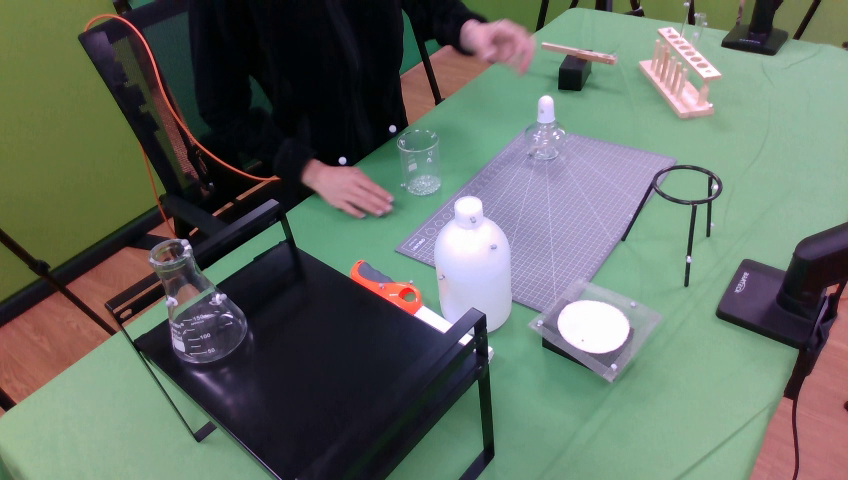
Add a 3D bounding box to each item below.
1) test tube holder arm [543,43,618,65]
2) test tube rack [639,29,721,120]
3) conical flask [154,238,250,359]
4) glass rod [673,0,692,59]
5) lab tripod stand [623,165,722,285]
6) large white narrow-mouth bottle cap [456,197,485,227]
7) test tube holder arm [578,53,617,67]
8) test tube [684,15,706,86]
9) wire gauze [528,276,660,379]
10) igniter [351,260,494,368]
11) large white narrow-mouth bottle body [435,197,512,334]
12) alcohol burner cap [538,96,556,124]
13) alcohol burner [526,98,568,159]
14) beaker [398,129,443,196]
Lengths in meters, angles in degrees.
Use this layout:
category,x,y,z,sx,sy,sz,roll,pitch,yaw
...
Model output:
category,x,y,z,sx,sy,sz,roll,pitch,yaw
test tube holder arm,0.344,-0.413,1.340,0.177,0.015,0.013,25,51,31
test tube rack,0.527,-0.351,1.262,0.067,0.085,0.241,-8,40,1
conical flask,-0.225,0.055,0.597,0.075,0.122,0.075,-5,41,4
glass rod,0.536,-0.437,1.257,0.008,0.200,0.008,0,39,1
lab tripod stand,0.365,-0.030,0.874,0.148,0.132,0.147,-6,41,6
large white narrow-mouth bottle cap,0.057,-0.036,0.750,0.038,0.024,0.037,-4,40,4
test tube holder arm,0.376,-0.393,1.314,0.087,0.015,0.010,26,51,32
test tube,0.541,-0.378,1.215,0.017,0.151,0.017,-2,44,3
wire gauze,0.214,0.103,0.763,0.124,0.011,0.122,30,52,35
igniter,-0.013,0.098,0.864,0.274,0.025,0.057,30,66,36
large white narrow-mouth bottle body,0.066,0.028,0.805,0.102,0.195,0.101,-4,40,4
alcohol burner cap,0.222,-0.237,1.095,0.034,0.048,0.033,-6,35,5
alcohol burner,0.228,-0.210,1.118,0.078,0.119,0.077,-5,43,5
beaker,-0.002,-0.138,1.087,0.073,0.101,0.084,29,51,35
